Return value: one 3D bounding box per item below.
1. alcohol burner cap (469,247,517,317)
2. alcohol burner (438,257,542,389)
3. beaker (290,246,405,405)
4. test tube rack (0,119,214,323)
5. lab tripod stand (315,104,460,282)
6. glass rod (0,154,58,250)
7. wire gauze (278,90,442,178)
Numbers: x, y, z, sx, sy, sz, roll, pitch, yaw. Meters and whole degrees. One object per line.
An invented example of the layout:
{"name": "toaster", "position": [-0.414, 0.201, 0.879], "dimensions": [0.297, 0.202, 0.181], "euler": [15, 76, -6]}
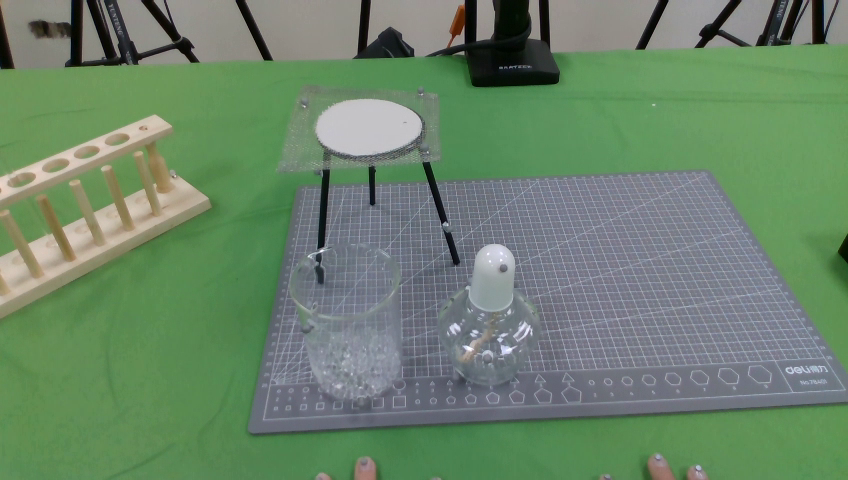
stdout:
{"name": "alcohol burner cap", "position": [0.049, 0.026, 0.415], "dimensions": [0.034, 0.048, 0.033], "euler": [2, 42, -1]}
{"name": "alcohol burner", "position": [0.048, 0.053, 0.439], "dimensions": [0.078, 0.120, 0.077], "euler": [0, 43, 0]}
{"name": "beaker", "position": [-0.053, 0.064, 0.439], "dimensions": [0.083, 0.101, 0.074], "euler": [29, 49, 31]}
{"name": "test tube rack", "position": [-0.325, -0.017, 0.553], "dimensions": [0.066, 0.086, 0.242], "euler": [31, 50, 32]}
{"name": "lab tripod stand", "position": [-0.037, -0.040, 0.533], "dimensions": [0.148, 0.132, 0.147], "euler": [1, 40, 0]}
{"name": "glass rod", "position": [-0.361, -0.070, 0.513], "dimensions": [0.008, 0.201, 0.008], "euler": [-5, 38, 4]}
{"name": "wire gauze", "position": [-0.047, -0.089, 0.487], "dimensions": [0.121, 0.011, 0.124], "euler": [0, 42, 0]}
